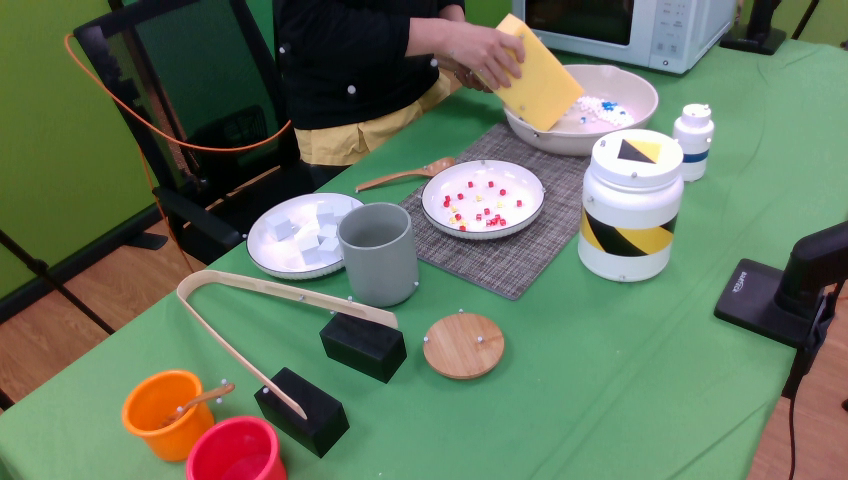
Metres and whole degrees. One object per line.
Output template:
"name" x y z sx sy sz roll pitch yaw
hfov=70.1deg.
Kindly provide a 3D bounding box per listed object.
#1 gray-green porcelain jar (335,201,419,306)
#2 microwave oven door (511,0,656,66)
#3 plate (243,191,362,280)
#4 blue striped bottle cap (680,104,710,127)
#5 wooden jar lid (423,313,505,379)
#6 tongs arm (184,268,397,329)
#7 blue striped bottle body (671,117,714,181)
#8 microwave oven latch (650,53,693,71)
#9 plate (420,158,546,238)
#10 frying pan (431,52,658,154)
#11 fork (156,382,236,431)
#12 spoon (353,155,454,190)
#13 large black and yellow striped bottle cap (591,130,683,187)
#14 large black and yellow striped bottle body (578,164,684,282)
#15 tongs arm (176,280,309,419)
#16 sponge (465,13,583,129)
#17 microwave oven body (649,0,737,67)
"gray-green porcelain jar" -0.064 0.024 0.872 0.106 0.127 0.105 -4 41 4
"microwave oven door" 0.351 -0.540 1.349 0.353 0.245 0.039 24 50 31
"plate" -0.188 -0.005 0.992 0.207 0.039 0.206 -4 41 4
"blue striped bottle cap" 0.443 -0.204 0.989 0.044 0.021 0.044 -1 41 2
"wooden jar lid" 0.053 0.142 0.800 0.108 0.021 0.108 -5 39 4
"tongs arm" -0.202 0.084 0.848 0.382 0.027 0.051 11 45 35
"blue striped bottle body" 0.449 -0.165 1.022 0.063 0.121 0.063 -5 41 4
"microwave oven latch" 0.531 -0.386 1.301 0.078 0.029 0.030 26 51 33
"plate" 0.099 -0.067 1.017 0.209 0.038 0.208 -4 40 4
"frying pan" 0.216 -0.302 1.223 0.484 0.103 0.308 29 49 24
"fork" -0.262 0.190 0.690 0.018 0.206 0.028 49 43 -7
"spoon" -0.038 -0.123 1.116 0.194 0.022 0.041 -12 58 -4
"large black and yellow striped bottle cap" 0.282 -0.111 0.803 0.115 0.019 0.114 -3 41 3
"large black and yellow striped bottle body" 0.292 -0.046 0.859 0.131 0.185 0.130 -4 41 4
"tongs arm" -0.254 0.133 0.801 0.028 0.028 0.384 -41 41 -23
"sponge" 0.192 -0.309 1.141 0.118 0.209 0.060 -46 37 14
"microwave oven body" 0.475 -0.602 1.411 0.438 0.261 0.327 23 50 32
